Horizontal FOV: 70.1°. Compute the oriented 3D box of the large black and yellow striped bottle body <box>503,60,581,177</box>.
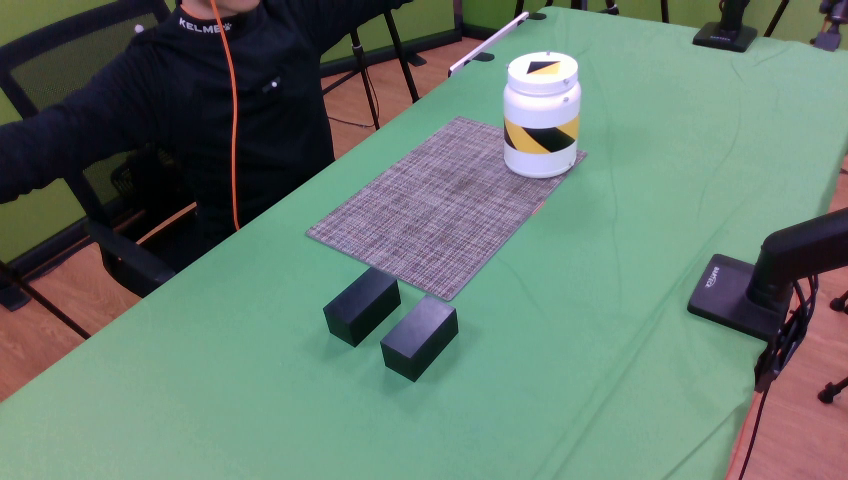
[{"bbox_3d":[0.206,-0.218,1.061,0.131,0.185,0.130,-4,41,4],"label":"large black and yellow striped bottle body"}]

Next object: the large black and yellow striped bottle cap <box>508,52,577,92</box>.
[{"bbox_3d":[0.197,-0.281,1.008,0.115,0.019,0.114,-4,42,4],"label":"large black and yellow striped bottle cap"}]
